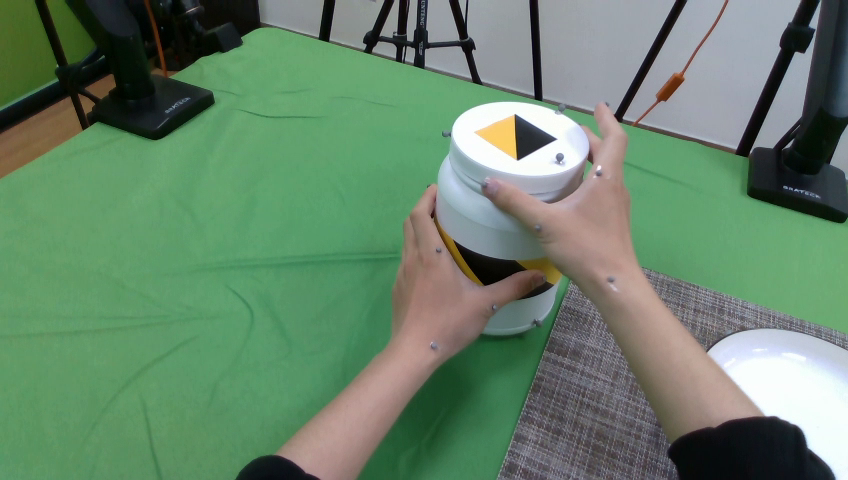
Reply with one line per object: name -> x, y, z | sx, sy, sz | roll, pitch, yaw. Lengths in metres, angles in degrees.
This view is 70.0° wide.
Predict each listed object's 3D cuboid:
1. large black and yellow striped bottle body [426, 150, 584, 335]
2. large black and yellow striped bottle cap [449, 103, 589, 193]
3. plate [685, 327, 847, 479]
large black and yellow striped bottle body -> 0.072, -0.016, 0.562 | 0.131, 0.185, 0.129 | 3, 42, -2
large black and yellow striped bottle cap -> 0.078, -0.080, 0.503 | 0.115, 0.019, 0.114 | 2, 41, -1
plate -> 0.317, 0.163, 0.497 | 0.208, 0.039, 0.205 | 3, 42, -3
